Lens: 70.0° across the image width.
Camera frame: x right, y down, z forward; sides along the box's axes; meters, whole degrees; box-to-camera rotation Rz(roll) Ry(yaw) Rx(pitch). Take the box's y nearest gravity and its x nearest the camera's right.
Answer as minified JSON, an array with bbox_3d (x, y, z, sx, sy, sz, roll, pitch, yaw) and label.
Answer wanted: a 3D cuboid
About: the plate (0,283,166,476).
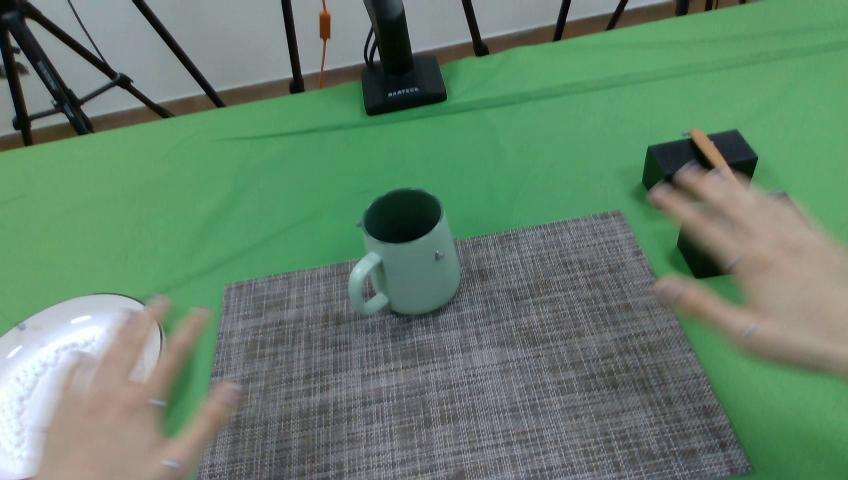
[{"bbox_3d":[-0.352,0.133,0.594,0.209,0.038,0.207,-5,47,6],"label":"plate"}]

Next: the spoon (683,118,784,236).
[{"bbox_3d":[0.298,-0.070,0.601,0.041,0.022,0.191,-21,45,15],"label":"spoon"}]

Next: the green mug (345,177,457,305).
[{"bbox_3d":[-0.027,0.013,0.593,0.091,0.106,0.125,28,58,31],"label":"green mug"}]
